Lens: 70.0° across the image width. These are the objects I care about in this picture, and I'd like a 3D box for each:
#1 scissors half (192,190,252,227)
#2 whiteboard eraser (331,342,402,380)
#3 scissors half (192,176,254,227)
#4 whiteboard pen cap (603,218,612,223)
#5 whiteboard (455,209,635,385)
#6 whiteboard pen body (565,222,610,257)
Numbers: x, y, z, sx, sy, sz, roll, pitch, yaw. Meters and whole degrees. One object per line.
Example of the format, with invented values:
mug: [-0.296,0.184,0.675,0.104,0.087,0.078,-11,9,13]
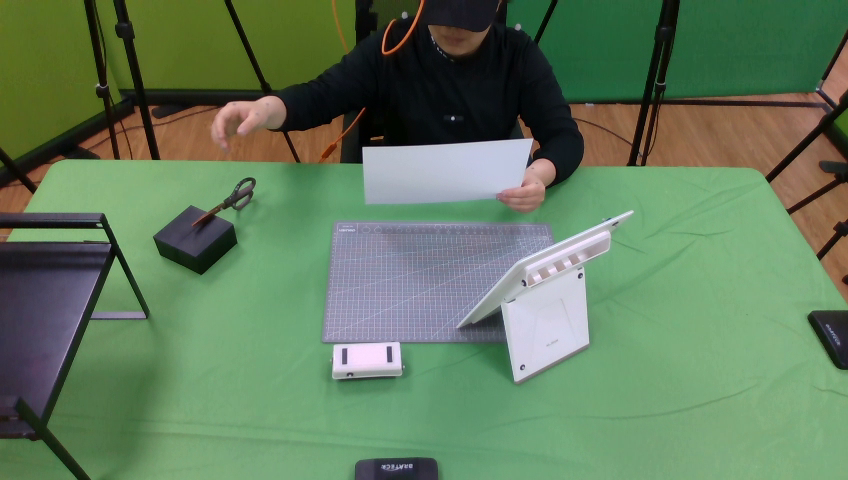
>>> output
scissors half: [-0.393,-0.060,1.187,0.013,0.040,0.175,25,29,12]
whiteboard eraser: [-0.094,0.198,0.986,0.113,0.042,0.055,-2,44,-6]
scissors half: [-0.388,-0.075,1.174,0.013,0.040,0.174,29,47,8]
whiteboard pen cap: [0.378,-0.031,1.255,0.033,0.018,0.018,-33,57,-30]
whiteboard: [0.211,0.111,0.955,0.217,0.306,0.143,-21,72,-23]
whiteboard pen body: [0.335,-0.004,1.228,0.141,0.017,0.017,-33,56,-29]
